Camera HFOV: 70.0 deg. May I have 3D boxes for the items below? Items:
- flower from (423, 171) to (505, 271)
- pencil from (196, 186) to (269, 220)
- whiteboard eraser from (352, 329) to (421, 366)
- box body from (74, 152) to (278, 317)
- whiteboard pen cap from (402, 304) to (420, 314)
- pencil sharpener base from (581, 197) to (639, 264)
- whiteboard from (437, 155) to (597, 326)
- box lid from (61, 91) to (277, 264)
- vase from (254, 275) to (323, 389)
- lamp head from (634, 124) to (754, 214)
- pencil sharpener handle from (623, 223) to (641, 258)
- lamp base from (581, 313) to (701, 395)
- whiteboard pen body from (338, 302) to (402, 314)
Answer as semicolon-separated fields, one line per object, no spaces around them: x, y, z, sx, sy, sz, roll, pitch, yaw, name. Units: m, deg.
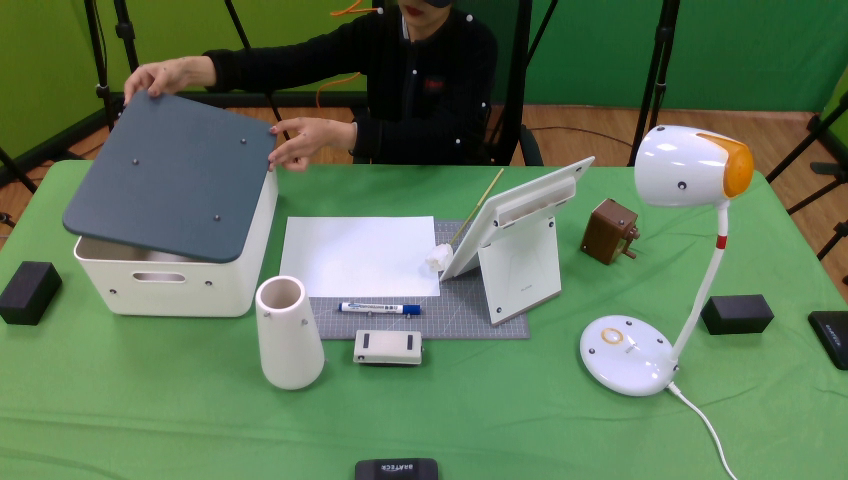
0.098;-0.053;1.259;0.044;0.038;0.361;19;43;22;flower
-0.396;-0.078;1.243;0.193;0.012;0.012;23;49;19;pencil
-0.061;0.179;1.005;0.113;0.042;0.055;3;48;-3;whiteboard eraser
-0.421;-0.041;1.108;0.254;0.161;0.361;2;46;-3;box body
-0.024;0.123;1.076;0.033;0.018;0.018;1;46;1;whiteboard pen cap
0.362;-0.016;1.178;0.076;0.107;0.061;35;53;26;pencil sharpener base
0.180;0.023;1.029;0.217;0.306;0.143;-21;71;-23;whiteboard
-0.409;-0.121;1.032;0.264;0.015;0.369;14;44;-13;box lid
-0.209;0.143;0.921;0.098;0.201;0.097;1;46;-1;vase
0.351;-0.089;0.776;0.112;0.113;0.122;-30;30;-28;lamp head
0.399;0.002;1.146;0.030;0.068;0.036;35;45;26;pencil sharpener handle
0.361;0.144;0.972;0.178;0.181;0.160;34;53;23;lamp base
-0.083;0.121;1.074;0.141;0.017;0.017;3;46;-2;whiteboard pen body
